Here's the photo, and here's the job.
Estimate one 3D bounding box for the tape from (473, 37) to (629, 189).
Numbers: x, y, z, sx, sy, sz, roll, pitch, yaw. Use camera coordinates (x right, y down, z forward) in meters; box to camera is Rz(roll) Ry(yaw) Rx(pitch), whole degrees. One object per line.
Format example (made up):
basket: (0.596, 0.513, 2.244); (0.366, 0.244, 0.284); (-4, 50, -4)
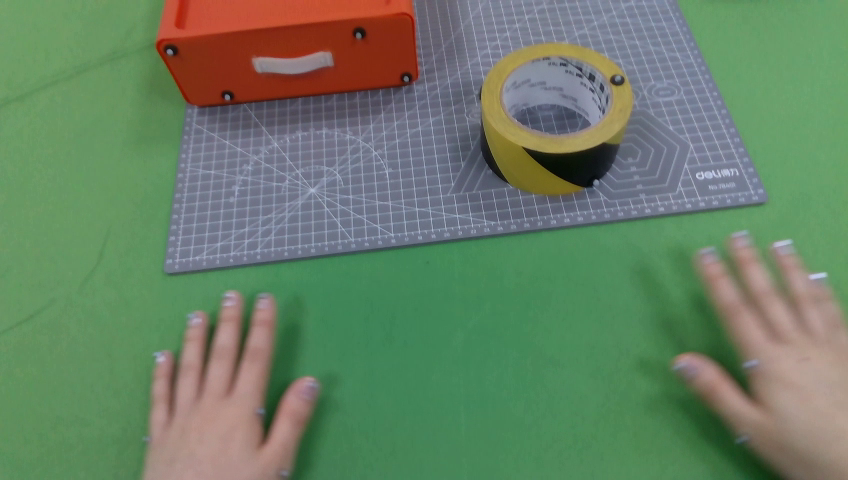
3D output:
tape: (0.096, -0.098, 0.465); (0.117, 0.053, 0.116); (-2, 60, 3)

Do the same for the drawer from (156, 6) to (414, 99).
drawer: (-0.116, -0.232, 0.537); (0.194, 0.074, 0.209); (-7, 60, 0)

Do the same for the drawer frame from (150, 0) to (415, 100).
drawer frame: (-0.117, -0.234, 0.538); (0.202, 0.083, 0.211); (-7, 59, 0)
